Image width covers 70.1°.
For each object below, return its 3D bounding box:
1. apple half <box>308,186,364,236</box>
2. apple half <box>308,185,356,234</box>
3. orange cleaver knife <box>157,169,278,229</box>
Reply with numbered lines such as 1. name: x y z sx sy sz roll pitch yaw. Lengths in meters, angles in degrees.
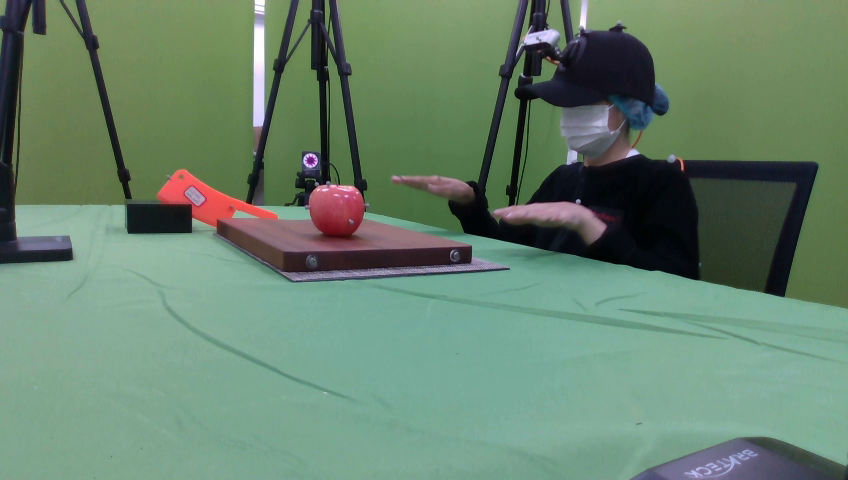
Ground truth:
1. apple half: -0.123 -0.041 0.874 0.081 0.074 0.053 3 9 -32
2. apple half: -0.143 -0.047 0.907 0.082 0.081 0.032 -1 12 -31
3. orange cleaver knife: -0.377 -0.061 1.116 0.212 0.077 0.012 25 -7 -28
